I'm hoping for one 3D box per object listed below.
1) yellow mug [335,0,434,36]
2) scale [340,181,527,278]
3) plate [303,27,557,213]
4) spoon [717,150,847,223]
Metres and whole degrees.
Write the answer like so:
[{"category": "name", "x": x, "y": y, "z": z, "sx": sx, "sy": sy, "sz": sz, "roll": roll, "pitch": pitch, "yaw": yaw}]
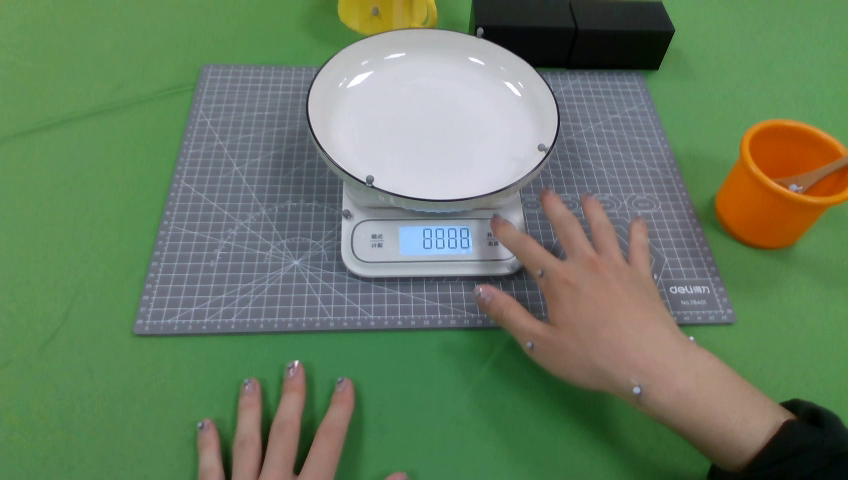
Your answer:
[{"category": "yellow mug", "x": -0.037, "y": -0.267, "z": 0.648, "sx": 0.130, "sy": 0.064, "sz": 0.100, "roll": 39, "pitch": 61, "yaw": 21}, {"category": "scale", "x": 0.004, "y": -0.058, "z": 0.518, "sx": 0.149, "sy": 0.032, "sz": 0.199, "roll": -1, "pitch": 55, "yaw": -4}, {"category": "plate", "x": 0.005, "y": -0.101, "z": 0.508, "sx": 0.209, "sy": 0.038, "sz": 0.207, "roll": 3, "pitch": 55, "yaw": -3}, {"category": "spoon", "x": 0.331, "y": -0.063, "z": 0.476, "sx": 0.022, "sy": 0.193, "sz": 0.041, "roll": 27, "pitch": 46, "yaw": -42}]
